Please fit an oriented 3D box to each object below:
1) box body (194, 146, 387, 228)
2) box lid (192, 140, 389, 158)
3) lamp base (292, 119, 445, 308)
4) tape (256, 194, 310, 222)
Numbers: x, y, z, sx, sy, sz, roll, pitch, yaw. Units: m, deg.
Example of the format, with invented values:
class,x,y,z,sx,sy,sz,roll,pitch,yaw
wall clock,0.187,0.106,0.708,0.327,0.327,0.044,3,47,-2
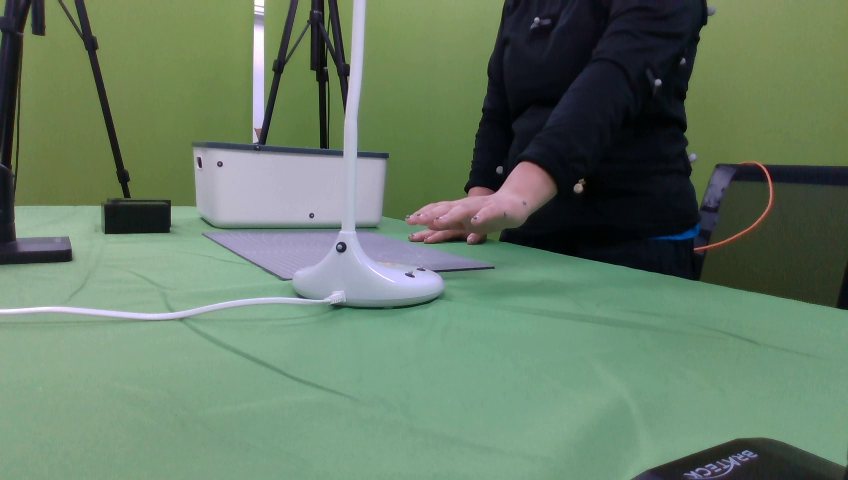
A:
class,x,y,z,sx,sy,sz,roll,pitch,yaw
box body,-0.288,-0.118,1.291,0.366,0.160,0.253,-1,8,-28
box lid,-0.287,-0.190,1.281,0.373,0.015,0.262,0,8,-28
lamp base,-0.056,-0.030,0.616,0.160,0.180,0.179,3,10,8
tape,-0.301,-0.069,1.294,0.117,0.052,0.117,2,7,0
